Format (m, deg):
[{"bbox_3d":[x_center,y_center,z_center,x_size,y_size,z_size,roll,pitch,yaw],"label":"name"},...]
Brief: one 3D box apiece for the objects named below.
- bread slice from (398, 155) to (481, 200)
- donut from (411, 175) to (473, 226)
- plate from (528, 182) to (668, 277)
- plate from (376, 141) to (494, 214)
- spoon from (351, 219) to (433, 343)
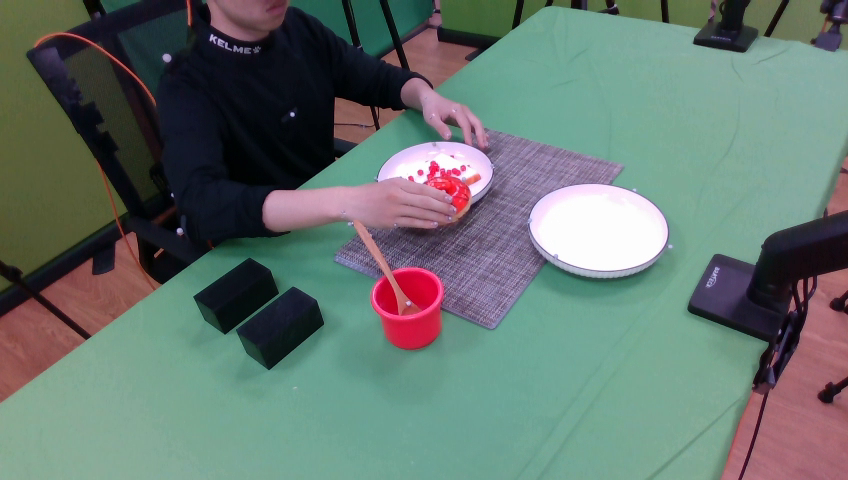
[{"bbox_3d":[0.021,-0.106,1.077,0.132,0.019,0.104,-31,45,-28],"label":"bread slice"},{"bbox_3d":[0.027,-0.063,0.939,0.099,0.048,0.098,-7,44,7],"label":"donut"},{"bbox_3d":[0.264,-0.014,0.933,0.207,0.039,0.206,-3,42,3],"label":"plate"},{"bbox_3d":[0.021,-0.106,1.073,0.209,0.038,0.208,-4,40,4],"label":"plate"},{"bbox_3d":[-0.045,0.054,0.820,0.042,0.021,0.193,-29,89,-21],"label":"spoon"}]
